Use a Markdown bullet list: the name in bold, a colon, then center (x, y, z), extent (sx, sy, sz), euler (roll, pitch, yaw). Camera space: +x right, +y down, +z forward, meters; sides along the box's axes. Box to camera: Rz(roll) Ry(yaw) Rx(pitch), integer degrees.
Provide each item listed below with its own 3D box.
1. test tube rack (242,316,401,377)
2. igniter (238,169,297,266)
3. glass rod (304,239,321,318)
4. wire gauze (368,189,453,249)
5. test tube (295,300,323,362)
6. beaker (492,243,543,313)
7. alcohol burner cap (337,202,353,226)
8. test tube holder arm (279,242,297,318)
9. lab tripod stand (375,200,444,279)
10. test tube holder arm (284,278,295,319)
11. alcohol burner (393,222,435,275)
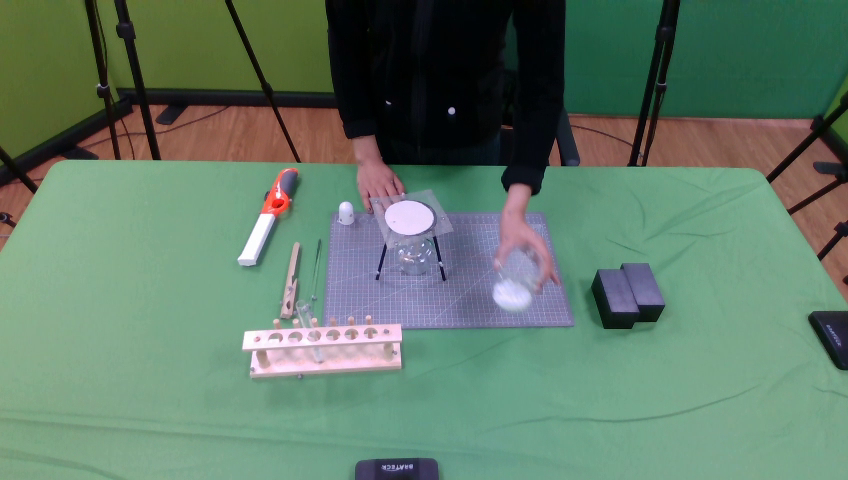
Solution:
- **test tube rack**: center (-0.161, 0.166, 0.983), extent (0.242, 0.085, 0.066), euler (-2, 46, -6)
- **igniter**: center (-0.313, -0.055, 1.224), extent (0.057, 0.025, 0.275), euler (1, 45, 10)
- **glass rod**: center (-0.207, 0.068, 1.127), extent (0.008, 0.008, 0.198), euler (2, 43, -2)
- **wire gauze**: center (-0.025, -0.042, 1.064), extent (0.121, 0.011, 0.124), euler (-11, 49, -17)
- **test tube**: center (-0.176, 0.143, 0.935), extent (0.017, 0.151, 0.017), euler (-2, 46, 2)
- **beaker**: center (0.152, 0.066, 0.992), extent (0.083, 0.101, 0.074), euler (36, 54, 27)
- **alcohol burner cap**: center (-0.161, -0.056, 1.223), extent (0.034, 0.048, 0.033), euler (2, 46, -2)
- **test tube holder arm**: center (-0.249, 0.069, 1.114), extent (0.013, 0.015, 0.177), euler (25, 38, -27)
- **lab tripod stand**: center (-0.023, 0.003, 1.114), extent (0.148, 0.132, 0.147), euler (4, 45, -3)
- **test tube holder arm**: center (-0.241, 0.103, 1.085), extent (0.010, 0.015, 0.087), euler (25, 38, -27)
- **alcohol burner**: center (-0.018, 0.009, 1.122), extent (0.078, 0.119, 0.077), euler (2, 47, -3)
